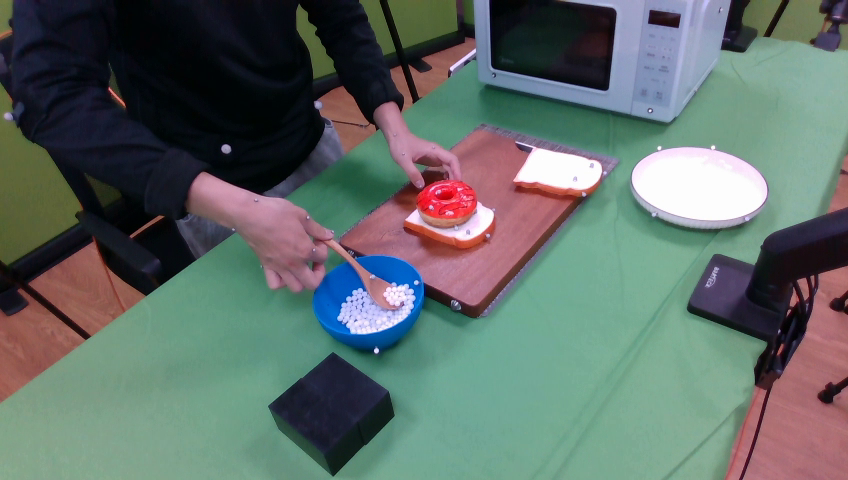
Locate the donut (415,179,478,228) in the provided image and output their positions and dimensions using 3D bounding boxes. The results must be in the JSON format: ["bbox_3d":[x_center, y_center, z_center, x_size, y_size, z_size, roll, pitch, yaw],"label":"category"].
[{"bbox_3d":[0.036,-0.058,0.944,0.099,0.048,0.098,-5,40,4],"label":"donut"}]

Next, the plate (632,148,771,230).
[{"bbox_3d":[0.447,-0.081,0.988,0.207,0.039,0.206,-4,40,4],"label":"plate"}]

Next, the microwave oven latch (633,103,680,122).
[{"bbox_3d":[0.444,-0.249,1.157,0.078,0.029,0.030,21,49,30],"label":"microwave oven latch"}]

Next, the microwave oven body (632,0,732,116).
[{"bbox_3d":[0.377,-0.462,1.267,0.438,0.261,0.327,21,48,30],"label":"microwave oven body"}]

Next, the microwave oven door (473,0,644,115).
[{"bbox_3d":[0.257,-0.396,1.199,0.353,0.245,0.039,21,48,29],"label":"microwave oven door"}]

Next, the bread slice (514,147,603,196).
[{"bbox_3d":[0.233,-0.115,1.027,0.133,0.018,0.107,13,45,20],"label":"bread slice"}]

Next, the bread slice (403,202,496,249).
[{"bbox_3d":[0.048,-0.034,0.961,0.130,0.019,0.105,22,49,32],"label":"bread slice"}]

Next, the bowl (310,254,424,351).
[{"bbox_3d":[-0.071,0.097,0.821,0.151,0.077,0.150,-4,40,4],"label":"bowl"}]

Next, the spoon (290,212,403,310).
[{"bbox_3d":[-0.105,0.026,0.820,0.194,0.021,0.041,44,53,-7],"label":"spoon"}]
